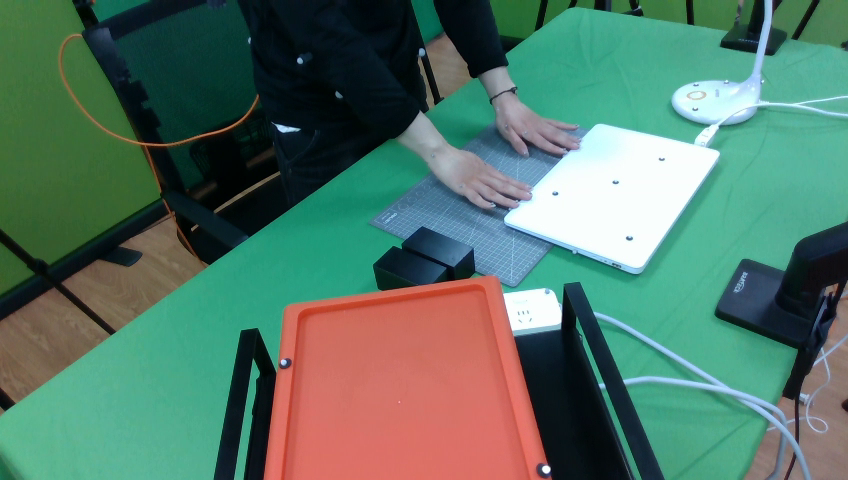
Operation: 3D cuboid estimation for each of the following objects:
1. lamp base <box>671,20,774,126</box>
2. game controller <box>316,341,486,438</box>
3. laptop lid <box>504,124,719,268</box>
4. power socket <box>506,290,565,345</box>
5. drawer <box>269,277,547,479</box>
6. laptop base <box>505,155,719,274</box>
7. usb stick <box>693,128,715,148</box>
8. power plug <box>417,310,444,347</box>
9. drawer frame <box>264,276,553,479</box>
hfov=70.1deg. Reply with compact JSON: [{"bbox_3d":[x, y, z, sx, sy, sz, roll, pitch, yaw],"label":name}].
[{"bbox_3d":[0.581,-0.332,1.154,0.179,0.181,0.160,2,42,7],"label":"lamp base"},{"bbox_3d":[-0.021,0.120,0.534,0.155,0.052,0.096,-3,37,0],"label":"game controller"},{"bbox_3d":[0.323,-0.093,1.021,0.239,0.013,0.358,23,49,33],"label":"laptop lid"},{"bbox_3d":[0.081,0.112,0.822,0.227,0.033,0.072,-7,40,0],"label":"power socket"},{"bbox_3d":[-0.018,0.137,0.493,0.195,0.073,0.210,-7,41,-1],"label":"drawer"},{"bbox_3d":[0.326,-0.083,1.028,0.233,0.023,0.355,21,48,32],"label":"laptop base"},{"bbox_3d":[0.502,-0.176,1.092,0.021,0.027,0.059,29,55,28],"label":"usb stick"},{"bbox_3d":[0.007,0.123,0.784,0.035,0.053,0.072,-1,42,8],"label":"power plug"},{"bbox_3d":[-0.016,0.137,0.490,0.202,0.083,0.212,-8,41,-1],"label":"drawer frame"}]
